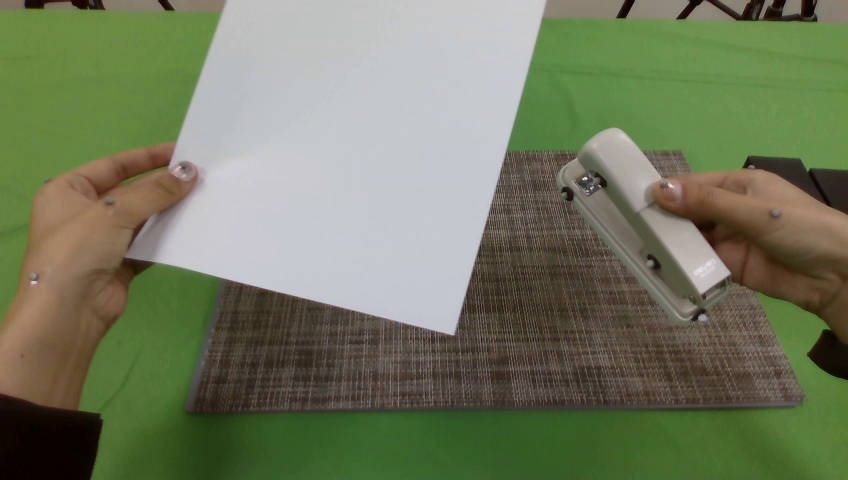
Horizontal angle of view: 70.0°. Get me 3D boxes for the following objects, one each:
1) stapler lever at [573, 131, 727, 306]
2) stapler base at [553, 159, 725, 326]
[{"bbox_3d":[0.134,-0.016,0.363,0.027,0.040,0.117,-34,70,-6],"label":"stapler lever"},{"bbox_3d":[0.135,-0.008,0.387,0.041,0.024,0.129,-34,71,-6],"label":"stapler base"}]
